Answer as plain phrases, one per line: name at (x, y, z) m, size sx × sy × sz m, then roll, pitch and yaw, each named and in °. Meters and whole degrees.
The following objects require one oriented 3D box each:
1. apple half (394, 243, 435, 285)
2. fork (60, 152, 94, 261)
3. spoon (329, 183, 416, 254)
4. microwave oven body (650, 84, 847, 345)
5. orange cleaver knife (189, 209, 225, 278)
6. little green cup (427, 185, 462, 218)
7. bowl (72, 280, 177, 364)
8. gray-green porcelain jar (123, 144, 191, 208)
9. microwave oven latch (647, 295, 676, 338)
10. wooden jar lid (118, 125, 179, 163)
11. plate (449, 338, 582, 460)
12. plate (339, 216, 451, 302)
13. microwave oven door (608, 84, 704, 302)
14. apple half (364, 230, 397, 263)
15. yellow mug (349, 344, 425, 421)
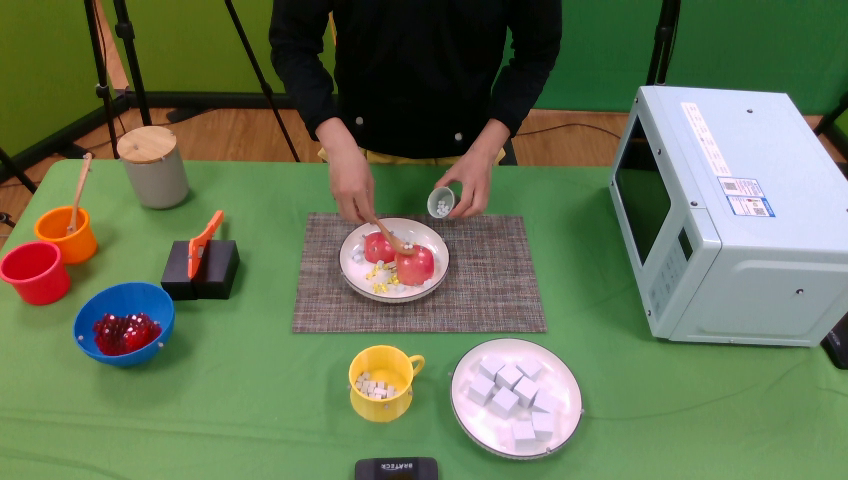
apple half at (-0.016, 0.037, 1.120) m, size 0.075 × 0.053 × 0.080 m, roll 1°, pitch 46°, yaw -6°
fork at (-0.638, -0.063, 1.119) m, size 0.028 × 0.018 × 0.207 m, roll 12°, pitch 90°, yaw 7°
spoon at (-0.092, -0.038, 1.080) m, size 0.194 × 0.021 × 0.041 m, roll 43°, pitch 30°, yaw -5°
microwave oven body at (0.569, -0.054, 1.115) m, size 0.326 × 0.261 × 0.439 m, roll 2°, pitch 46°, yaw -1°
orange cleaver knife at (-0.400, 0.002, 1.122) m, size 0.012 × 0.077 × 0.210 m, roll 4°, pitch 23°, yaw -4°
little green cup at (0.041, -0.070, 1.148) m, size 0.061 × 0.039 × 0.061 m, roll -5°, pitch 79°, yaw 28°
bowl at (-0.472, 0.147, 0.982) m, size 0.151 × 0.077 × 0.150 m, roll 2°, pitch 46°, yaw -2°
gray-green porcelain jar at (-0.531, -0.137, 1.213) m, size 0.106 × 0.127 × 0.105 m, roll 2°, pitch 47°, yaw -2°
microwave oven latch at (0.413, 0.133, 1.060) m, size 0.030 × 0.029 × 0.078 m, roll 4°, pitch 46°, yaw 1°
wooden jar lid at (-0.528, -0.181, 1.167) m, size 0.108 × 0.021 × 0.107 m, roll 4°, pitch 48°, yaw -4°
plate at (0.141, 0.251, 0.955) m, size 0.208 × 0.039 × 0.206 m, roll 2°, pitch 47°, yaw -2°
plate at (-0.054, 0.038, 1.138) m, size 0.209 × 0.038 × 0.208 m, roll 2°, pitch 46°, yaw -2°
microwave oven door at (0.424, -0.096, 1.138) m, size 0.039 × 0.245 × 0.353 m, roll 2°, pitch 47°, yaw -1°
apple half at (-0.080, 0.005, 1.160) m, size 0.081 × 0.033 × 0.081 m, roll 3°, pitch 49°, yaw -3°
yellow mug at (-0.054, 0.217, 0.954) m, size 0.131 × 0.064 × 0.099 m, roll -24°, pitch 53°, yaw -25°
